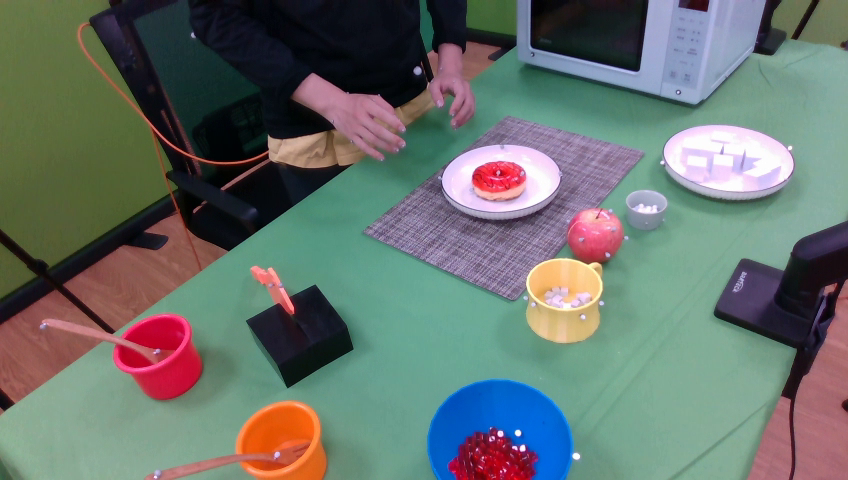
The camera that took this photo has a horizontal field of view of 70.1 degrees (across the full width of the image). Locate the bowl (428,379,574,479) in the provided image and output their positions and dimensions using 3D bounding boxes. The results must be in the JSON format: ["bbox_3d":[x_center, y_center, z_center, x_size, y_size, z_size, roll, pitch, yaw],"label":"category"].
[{"bbox_3d":[0.082,0.233,0.644,0.151,0.077,0.150,-4,39,4],"label":"bowl"}]

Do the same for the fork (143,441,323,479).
[{"bbox_3d":[-0.189,0.231,0.631,0.028,0.018,0.209,35,13,37],"label":"fork"}]

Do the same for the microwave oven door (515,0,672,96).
[{"bbox_3d":[0.343,-0.455,1.259,0.353,0.245,0.039,26,51,33],"label":"microwave oven door"}]

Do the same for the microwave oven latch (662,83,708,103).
[{"bbox_3d":[0.517,-0.296,1.204,0.078,0.029,0.030,27,52,35],"label":"microwave oven latch"}]

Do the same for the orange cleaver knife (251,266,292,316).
[{"bbox_3d":[-0.221,0.071,0.873,0.012,0.077,0.210,-25,11,-21],"label":"orange cleaver knife"}]

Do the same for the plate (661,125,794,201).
[{"bbox_3d":[0.513,-0.128,1.035,0.207,0.039,0.206,-4,40,4],"label":"plate"}]

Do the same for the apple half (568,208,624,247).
[{"bbox_3d":[0.259,-0.014,0.914,0.080,0.075,0.053,0,36,15],"label":"apple half"}]

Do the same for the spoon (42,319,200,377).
[{"bbox_3d":[-0.385,0.135,0.779,0.195,0.021,0.041,29,37,-26],"label":"spoon"}]

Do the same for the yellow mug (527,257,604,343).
[{"bbox_3d":[0.201,0.072,0.825,0.131,0.064,0.099,-32,46,-27],"label":"yellow mug"}]

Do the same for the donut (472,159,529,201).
[{"bbox_3d":[0.132,-0.105,1.043,0.099,0.048,0.098,-5,38,4],"label":"donut"}]

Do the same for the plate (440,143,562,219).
[{"bbox_3d":[0.134,-0.098,1.052,0.209,0.038,0.208,-4,40,4],"label":"plate"}]

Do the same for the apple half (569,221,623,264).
[{"bbox_3d":[0.251,0.010,0.884,0.081,0.081,0.032,3,37,12],"label":"apple half"}]

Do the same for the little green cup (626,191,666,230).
[{"bbox_3d":[0.352,-0.046,0.963,0.061,0.039,0.061,-4,40,4],"label":"little green cup"}]

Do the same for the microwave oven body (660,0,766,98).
[{"bbox_3d":[0.472,-0.513,1.317,0.438,0.261,0.327,26,51,34],"label":"microwave oven body"}]
